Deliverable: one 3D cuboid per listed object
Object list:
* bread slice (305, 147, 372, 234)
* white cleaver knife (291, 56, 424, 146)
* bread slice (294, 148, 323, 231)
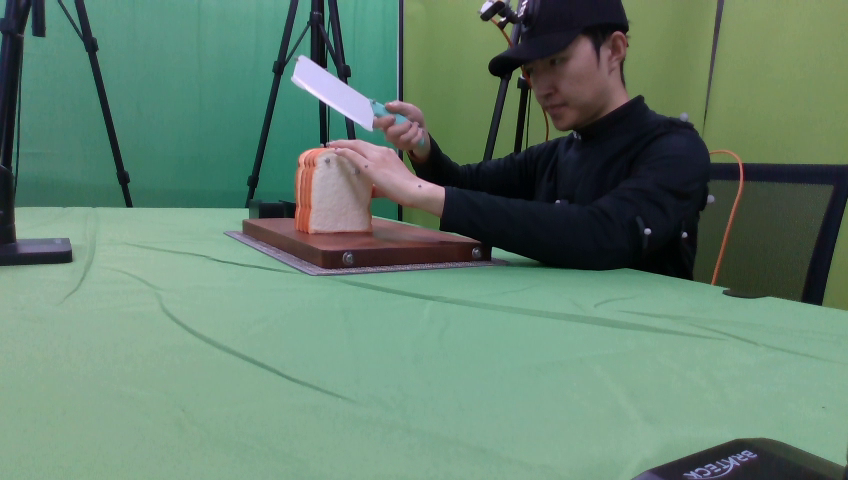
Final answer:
[{"bbox_3d":[-0.131,-0.075,0.925,0.107,0.134,0.018,-5,12,-32],"label":"bread slice"},{"bbox_3d":[-0.106,-0.220,1.030,0.288,0.066,0.021,23,-28,-39],"label":"white cleaver knife"},{"bbox_3d":[-0.158,-0.081,0.969,0.105,0.131,0.019,-2,2,-33],"label":"bread slice"}]
